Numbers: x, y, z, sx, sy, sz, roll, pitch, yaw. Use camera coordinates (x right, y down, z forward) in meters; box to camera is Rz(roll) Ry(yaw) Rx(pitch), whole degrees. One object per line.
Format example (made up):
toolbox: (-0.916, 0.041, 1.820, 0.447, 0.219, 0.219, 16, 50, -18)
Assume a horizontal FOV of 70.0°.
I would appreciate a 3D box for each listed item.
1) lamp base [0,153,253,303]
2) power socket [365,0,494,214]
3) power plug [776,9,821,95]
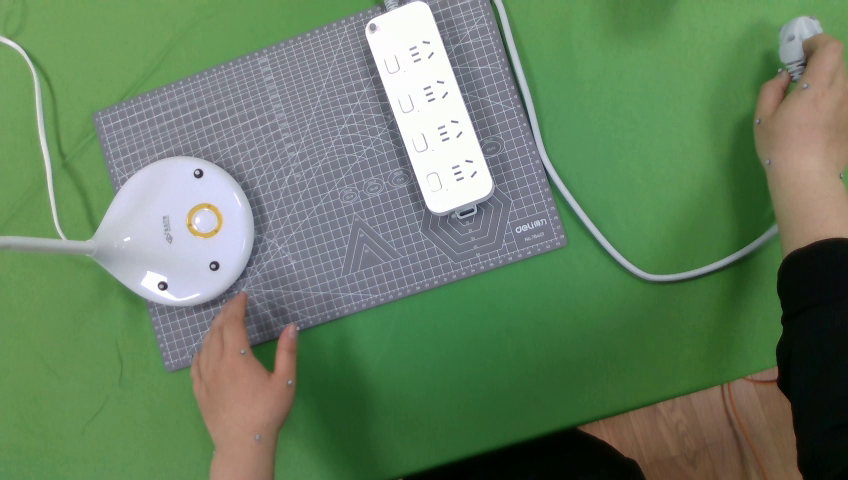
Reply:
lamp base: (-0.281, -0.010, 0.571, 0.179, 0.180, 0.160, -24, 86, 9)
power socket: (0.005, -0.135, 0.610, 0.072, 0.032, 0.226, -20, 87, 6)
power plug: (0.343, -0.174, 0.558, 0.053, 0.035, 0.073, -21, 114, -34)
